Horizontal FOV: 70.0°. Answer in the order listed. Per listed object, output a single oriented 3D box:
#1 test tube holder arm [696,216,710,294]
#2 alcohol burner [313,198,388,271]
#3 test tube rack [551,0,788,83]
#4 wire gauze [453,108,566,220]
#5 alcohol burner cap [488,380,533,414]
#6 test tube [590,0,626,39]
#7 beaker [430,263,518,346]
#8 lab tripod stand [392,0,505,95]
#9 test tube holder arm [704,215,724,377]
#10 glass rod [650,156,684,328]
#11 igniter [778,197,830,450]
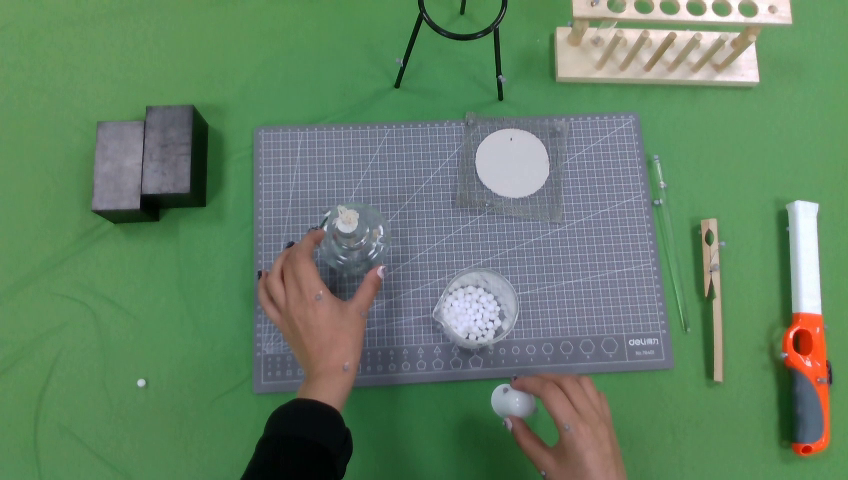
[{"bbox_3d":[0.315,0.017,0.680,0.010,0.015,0.087,-7,76,33],"label":"test tube holder arm"},{"bbox_3d":[-0.077,-0.010,0.618,0.078,0.119,0.077,0,76,0],"label":"alcohol burner"},{"bbox_3d":[0.277,-0.234,0.698,0.242,0.085,0.066,1,77,-2],"label":"test tube rack"},{"bbox_3d":[0.099,-0.090,0.697,0.125,0.011,0.121,8,79,-1],"label":"wire gauze"},{"bbox_3d":[0.085,0.150,0.577,0.034,0.048,0.033,4,77,-18],"label":"alcohol burner cap"},{"bbox_3d":[0.210,-0.260,0.650,0.017,0.150,0.017,1,78,-4],"label":"test tube"},{"bbox_3d":[0.046,0.070,0.613,0.084,0.100,0.073,-11,77,-4],"label":"beaker"},{"bbox_3d":[0.031,-0.227,0.662,0.148,0.132,0.148,0,79,-2],"label":"lab tripod stand"},{"bbox_3d":[0.319,0.060,0.668,0.013,0.015,0.177,-8,76,33],"label":"test tube holder arm"},{"bbox_3d":[0.275,0.000,0.686,0.008,0.008,0.199,-5,80,-4],"label":"glass rod"},{"bbox_3d":[0.414,0.087,0.663,0.057,0.025,0.275,8,78,-11],"label":"igniter"}]
